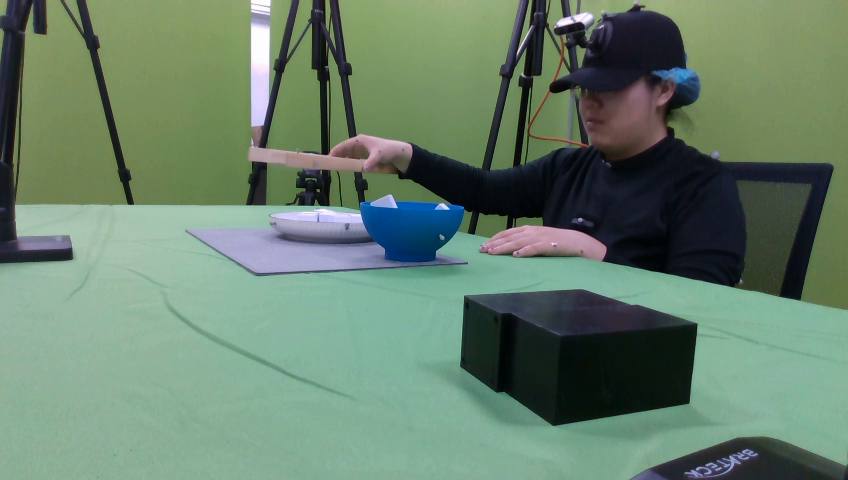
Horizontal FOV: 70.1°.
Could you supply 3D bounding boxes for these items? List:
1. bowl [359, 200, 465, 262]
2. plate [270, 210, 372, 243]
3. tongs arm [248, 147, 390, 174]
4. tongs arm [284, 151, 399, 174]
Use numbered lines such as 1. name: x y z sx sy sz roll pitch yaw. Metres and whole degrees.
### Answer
1. bowl: -0.018 -0.013 0.859 0.151 0.077 0.151 2 7 0
2. plate: -0.161 -0.023 1.054 0.208 0.039 0.207 2 7 0
3. tongs arm: -0.189 -0.158 1.225 0.050 0.026 0.387 9 7 32
4. tongs arm: -0.145 -0.150 1.198 0.028 0.028 0.389 4 5 28
